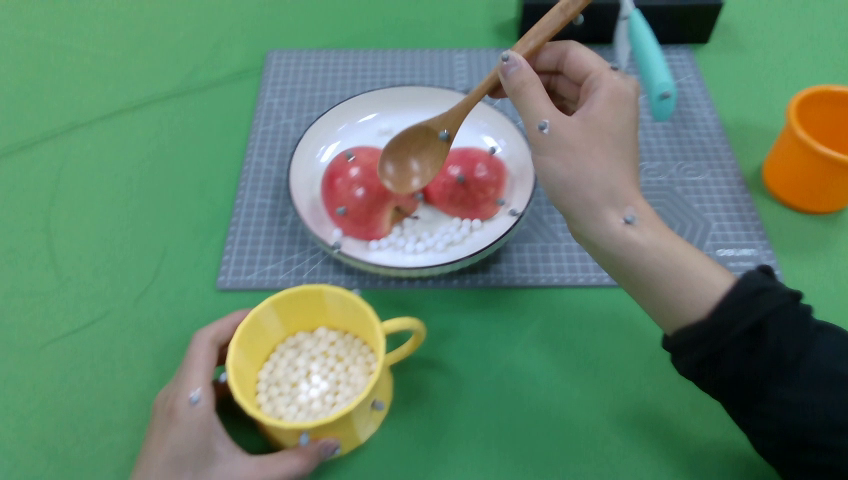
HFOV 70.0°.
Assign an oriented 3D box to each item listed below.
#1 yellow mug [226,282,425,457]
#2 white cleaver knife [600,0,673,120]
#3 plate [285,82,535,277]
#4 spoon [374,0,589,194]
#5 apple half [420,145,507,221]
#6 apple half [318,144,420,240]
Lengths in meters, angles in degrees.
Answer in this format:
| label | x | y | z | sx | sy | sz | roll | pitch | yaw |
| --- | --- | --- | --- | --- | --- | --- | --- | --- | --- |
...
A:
| label | x | y | z | sx | sy | sz | roll | pitch | yaw |
| --- | --- | --- | --- | --- | --- | --- | --- | --- | --- |
| yellow mug | -0.060 | 0.082 | 0.411 | 0.131 | 0.064 | 0.099 | -19 | 58 | -14 |
| white cleaver knife | 0.205 | -0.216 | 0.613 | 0.021 | 0.066 | 0.283 | -3 | 51 | 4 |
| plate | -0.012 | -0.053 | 0.518 | 0.209 | 0.038 | 0.207 | 0 | 55 | 0 |
| spoon | 0.038 | -0.097 | 0.388 | 0.041 | 0.194 | 0.021 | 52 | 28 | 4 |
| apple half | 0.033 | -0.057 | 0.513 | 0.081 | 0.033 | 0.080 | 0 | 58 | 0 |
| apple half | -0.047 | -0.048 | 0.495 | 0.081 | 0.054 | 0.074 | -38 | 60 | -23 |
